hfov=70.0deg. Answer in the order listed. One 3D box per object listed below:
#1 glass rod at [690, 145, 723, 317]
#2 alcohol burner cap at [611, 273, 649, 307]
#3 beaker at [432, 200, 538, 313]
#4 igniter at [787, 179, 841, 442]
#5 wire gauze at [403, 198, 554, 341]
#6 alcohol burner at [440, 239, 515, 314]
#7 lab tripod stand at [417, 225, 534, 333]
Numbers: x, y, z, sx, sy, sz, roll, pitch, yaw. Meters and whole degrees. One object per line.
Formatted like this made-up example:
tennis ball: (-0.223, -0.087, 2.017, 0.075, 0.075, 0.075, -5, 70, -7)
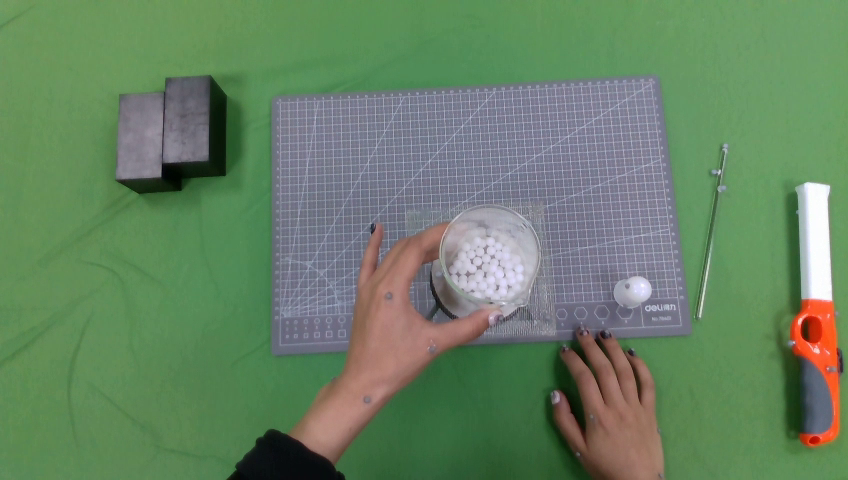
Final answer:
glass rod: (0.312, -0.013, 0.667, 0.008, 0.008, 0.199, 13, 80, 4)
alcohol burner cap: (0.218, 0.052, 0.637, 0.034, 0.048, 0.033, -1, 77, 3)
beaker: (0.050, 0.021, 0.482, 0.074, 0.101, 0.083, -34, 78, -4)
igniter: (0.410, 0.071, 0.639, 0.057, 0.025, 0.275, 7, 79, -8)
wire gauze: (0.047, 0.025, 0.531, 0.125, 0.011, 0.121, -4, 78, 1)
alcohol burner: (0.055, 0.033, 0.608, 0.078, 0.119, 0.077, 0, 76, 1)
lab tripod stand: (0.049, 0.041, 0.596, 0.148, 0.132, 0.147, -1, 77, 3)
